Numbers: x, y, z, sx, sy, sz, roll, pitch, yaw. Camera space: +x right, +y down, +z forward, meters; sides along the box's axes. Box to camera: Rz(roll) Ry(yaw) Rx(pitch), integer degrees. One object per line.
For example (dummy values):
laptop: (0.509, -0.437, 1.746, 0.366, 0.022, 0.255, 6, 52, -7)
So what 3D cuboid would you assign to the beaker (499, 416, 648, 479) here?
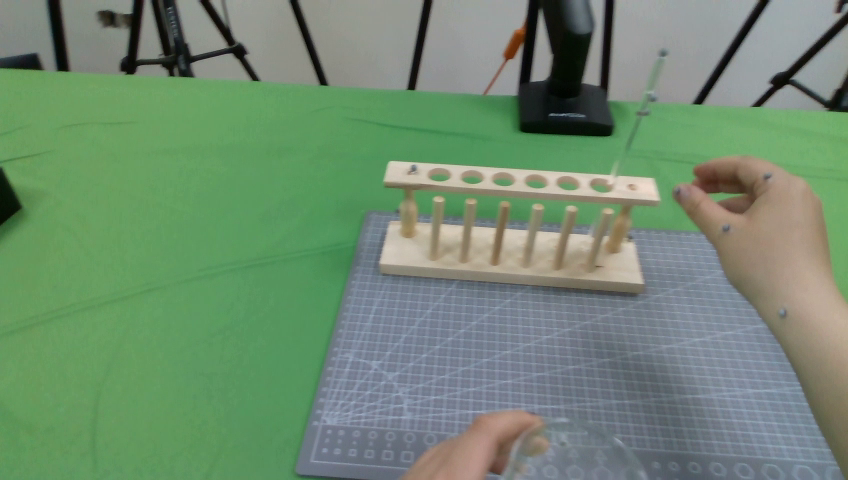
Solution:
beaker: (0.072, 0.161, 0.344, 0.084, 0.101, 0.073, -4, 40, -14)

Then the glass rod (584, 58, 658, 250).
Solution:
glass rod: (0.166, -0.063, 0.523, 0.008, 0.201, 0.008, 3, 43, -3)

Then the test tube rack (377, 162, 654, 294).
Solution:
test tube rack: (0.080, -0.011, 0.562, 0.242, 0.086, 0.066, 4, 41, 3)
